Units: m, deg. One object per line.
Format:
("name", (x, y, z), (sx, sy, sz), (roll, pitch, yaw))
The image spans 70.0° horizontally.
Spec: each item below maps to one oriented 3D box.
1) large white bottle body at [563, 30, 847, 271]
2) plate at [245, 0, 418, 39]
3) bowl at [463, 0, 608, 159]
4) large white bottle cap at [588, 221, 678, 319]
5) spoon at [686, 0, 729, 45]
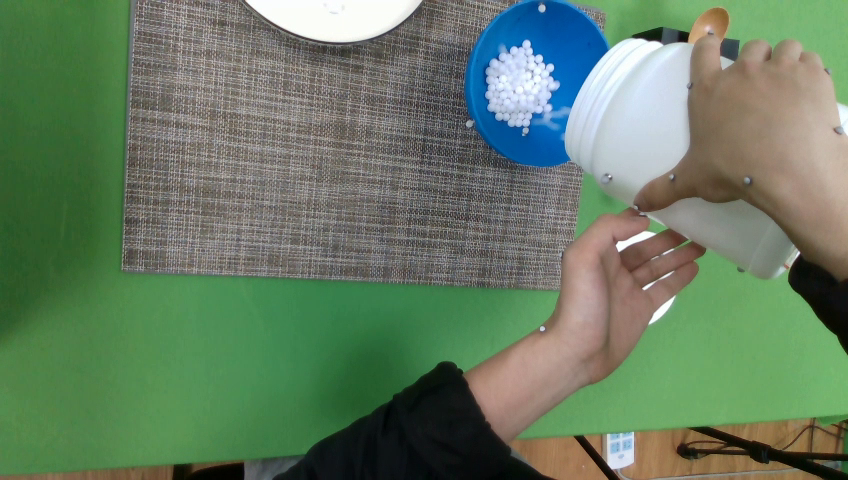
("large white bottle body", (0.212, -0.075, 0.462), (0.130, 0.183, 0.132), (-35, 146, -28))
("plate", (-0.086, -0.278, 0.524), (0.210, 0.038, 0.209), (-2, 97, -19))
("bowl", (0.098, -0.154, 0.585), (0.152, 0.076, 0.151), (-3, 100, -18))
("large white bottle cap", (0.244, 0.036, 0.702), (0.115, 0.017, 0.115), (-3, 101, -19))
("spoon", (0.264, -0.152, 0.628), (0.042, 0.021, 0.194), (16, 99, -23))
